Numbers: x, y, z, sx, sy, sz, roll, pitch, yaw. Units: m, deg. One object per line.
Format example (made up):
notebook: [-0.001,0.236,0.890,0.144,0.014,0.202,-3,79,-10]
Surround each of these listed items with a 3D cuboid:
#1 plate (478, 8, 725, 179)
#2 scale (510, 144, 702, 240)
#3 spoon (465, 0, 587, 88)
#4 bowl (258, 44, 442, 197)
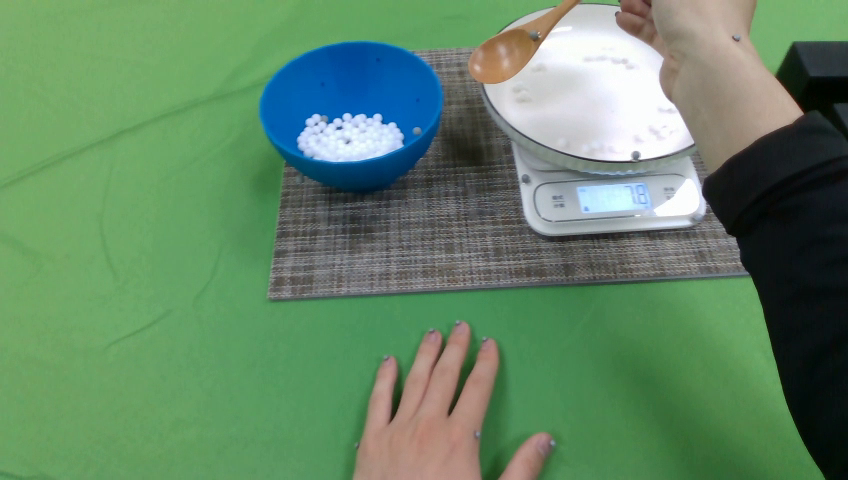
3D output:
plate: [0.150,-0.128,0.530,0.209,0.038,0.207,-1,54,1]
scale: [0.152,-0.090,0.543,0.149,0.032,0.199,-4,54,0]
spoon: [0.113,-0.174,0.450,0.193,0.022,0.041,-31,66,27]
bowl: [-0.058,-0.091,0.524,0.151,0.077,0.150,-1,54,2]
